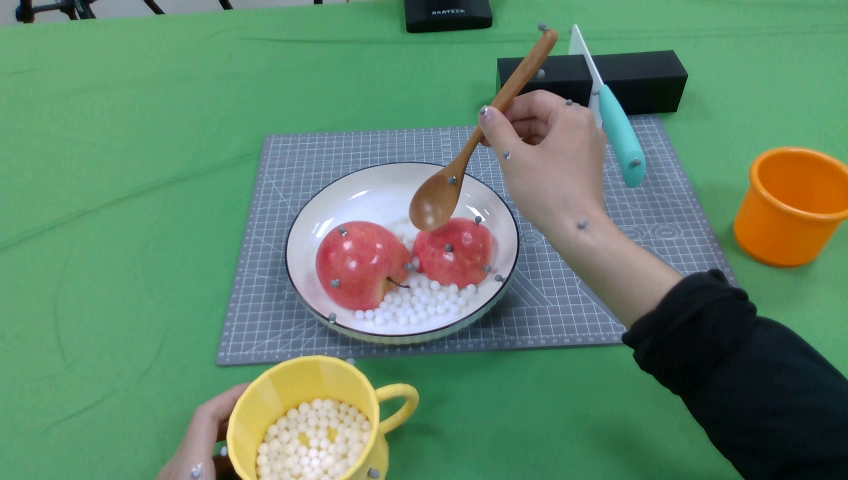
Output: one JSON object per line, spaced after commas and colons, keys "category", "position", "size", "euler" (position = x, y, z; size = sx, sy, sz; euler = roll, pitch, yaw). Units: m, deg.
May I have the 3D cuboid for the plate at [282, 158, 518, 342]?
{"category": "plate", "position": [-0.021, 0.007, 0.548], "size": [0.209, 0.038, 0.207], "euler": [-1, 49, 1]}

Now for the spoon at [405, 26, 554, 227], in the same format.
{"category": "spoon", "position": [0.040, -0.082, 0.476], "size": [0.022, 0.194, 0.041], "euler": [-14, 59, -47]}

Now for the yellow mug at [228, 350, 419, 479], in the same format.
{"category": "yellow mug", "position": [-0.064, 0.131, 0.426], "size": [0.131, 0.064, 0.099], "euler": [-20, 52, -16]}

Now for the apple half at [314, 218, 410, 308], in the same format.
{"category": "apple half", "position": [-0.056, 0.011, 0.524], "size": [0.074, 0.054, 0.081], "euler": [34, 59, 31]}

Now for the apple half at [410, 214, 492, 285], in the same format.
{"category": "apple half", "position": [0.024, 0.000, 0.542], "size": [0.081, 0.033, 0.080], "euler": [-1, 51, 1]}

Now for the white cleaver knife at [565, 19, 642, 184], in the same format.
{"category": "white cleaver knife", "position": [0.189, -0.154, 0.661], "size": [0.021, 0.066, 0.283], "euler": [-6, 45, 4]}
